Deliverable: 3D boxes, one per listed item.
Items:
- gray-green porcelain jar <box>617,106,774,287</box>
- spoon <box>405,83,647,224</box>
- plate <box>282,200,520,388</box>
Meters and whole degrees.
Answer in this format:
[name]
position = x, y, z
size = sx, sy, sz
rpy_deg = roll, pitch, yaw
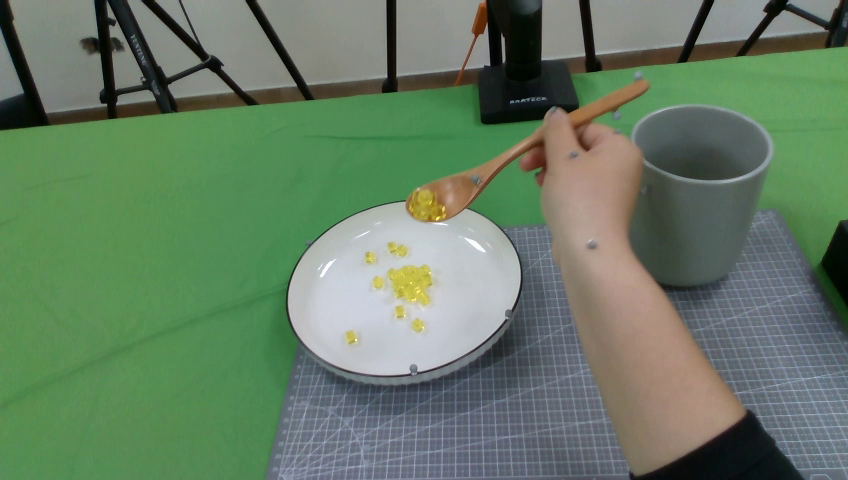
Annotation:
[gray-green porcelain jar]
position = 0.221, -0.031, 0.512
size = 0.106, 0.128, 0.105
rpy_deg = -5, 44, 5
[spoon]
position = 0.073, -0.064, 0.443
size = 0.194, 0.022, 0.041
rpy_deg = -30, 47, 12
[plate]
position = -0.019, 0.045, 0.539
size = 0.207, 0.039, 0.205
rpy_deg = -4, 44, 5
